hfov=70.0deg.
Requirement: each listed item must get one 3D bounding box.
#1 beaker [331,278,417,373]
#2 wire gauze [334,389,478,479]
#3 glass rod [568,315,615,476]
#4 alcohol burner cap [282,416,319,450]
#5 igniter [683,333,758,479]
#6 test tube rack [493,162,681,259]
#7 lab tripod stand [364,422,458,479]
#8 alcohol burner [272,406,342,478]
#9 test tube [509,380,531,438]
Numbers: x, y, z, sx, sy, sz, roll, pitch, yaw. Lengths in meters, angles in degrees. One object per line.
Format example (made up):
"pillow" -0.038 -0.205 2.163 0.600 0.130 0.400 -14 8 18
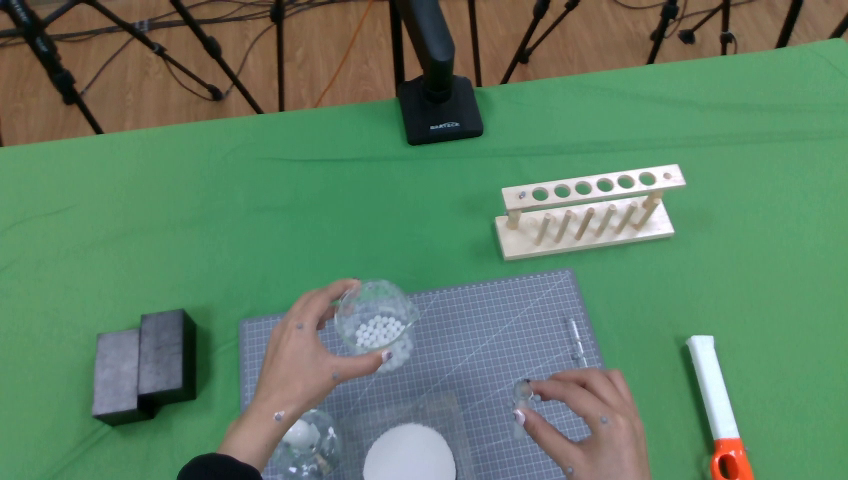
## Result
"beaker" -0.046 0.092 0.626 0.084 0.101 0.073 -4 63 1
"wire gauze" -0.016 0.212 0.578 0.125 0.011 0.120 -11 61 -7
"glass rod" 0.204 0.186 0.745 0.008 0.008 0.198 -7 65 -5
"alcohol burner cap" -0.130 0.199 0.630 0.034 0.048 0.033 -1 67 3
"igniter" 0.355 0.241 0.711 0.057 0.025 0.274 3 61 -11
"test tube rack" 0.223 -0.040 0.828 0.243 0.086 0.066 -8 61 -5
"lab tripod stand" -0.016 0.248 0.636 0.148 0.132 0.147 0 60 1
"alcohol burner" -0.131 0.216 0.662 0.078 0.120 0.077 0 59 0
"test tube" 0.085 0.155 0.546 0.017 0.151 0.017 -3 60 5
